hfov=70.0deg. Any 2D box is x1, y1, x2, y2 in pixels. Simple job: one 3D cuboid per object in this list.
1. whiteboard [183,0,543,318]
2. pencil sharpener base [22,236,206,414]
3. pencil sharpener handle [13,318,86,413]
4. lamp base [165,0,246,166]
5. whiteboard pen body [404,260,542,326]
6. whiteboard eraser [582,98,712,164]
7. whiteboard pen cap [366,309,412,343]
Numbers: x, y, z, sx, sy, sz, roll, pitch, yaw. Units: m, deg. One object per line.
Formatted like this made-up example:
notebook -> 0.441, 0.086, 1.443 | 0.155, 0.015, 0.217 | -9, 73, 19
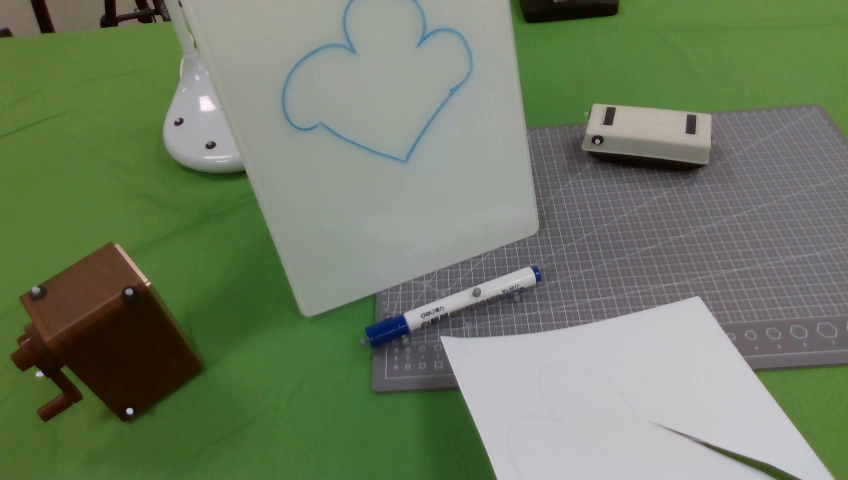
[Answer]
whiteboard -> -0.048, -0.130, 0.493 | 0.217, 0.308, 0.142 | -20, 29, -10
pencil sharpener base -> -0.217, 0.064, 0.432 | 0.076, 0.108, 0.061 | -37, 55, -24
pencil sharpener handle -> -0.254, 0.085, 0.399 | 0.030, 0.068, 0.035 | -37, 42, -24
lamp base -> -0.219, -0.193, 0.614 | 0.177, 0.182, 0.160 | 29, 57, 31
whiteboard pen body -> 0.028, 0.045, 0.473 | 0.141, 0.017, 0.017 | -20, 49, -10
whiteboard eraser -> 0.211, -0.103, 0.575 | 0.112, 0.042, 0.055 | 10, 51, 15
whiteboard pen cap -> -0.027, 0.065, 0.463 | 0.033, 0.018, 0.018 | -21, 49, -10
